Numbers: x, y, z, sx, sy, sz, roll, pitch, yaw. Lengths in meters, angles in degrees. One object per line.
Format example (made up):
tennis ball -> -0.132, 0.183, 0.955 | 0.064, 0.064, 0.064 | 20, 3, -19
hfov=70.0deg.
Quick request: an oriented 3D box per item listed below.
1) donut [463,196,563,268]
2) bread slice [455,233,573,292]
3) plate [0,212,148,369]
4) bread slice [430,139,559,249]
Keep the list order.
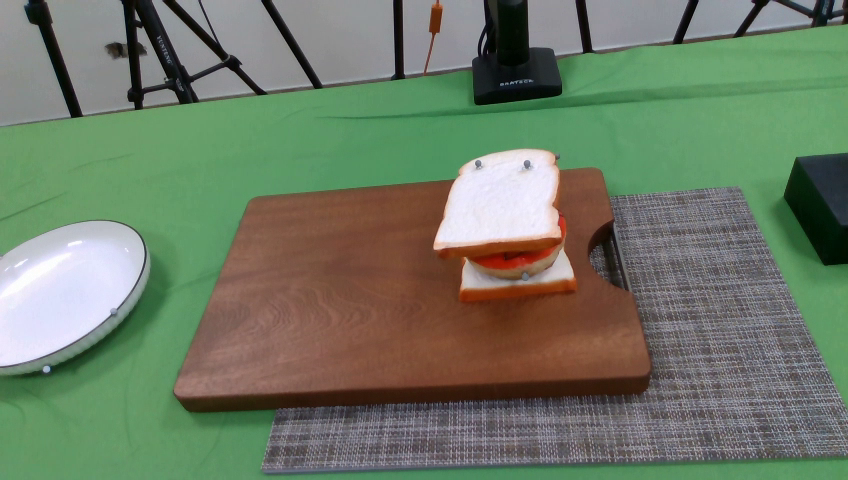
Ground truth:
donut -> 0.076, -0.017, 0.550 | 0.099, 0.049, 0.098 | -7, 45, 7
bread slice -> 0.078, -0.007, 0.582 | 0.105, 0.019, 0.130 | -6, 45, 4
plate -> -0.394, 0.052, 0.646 | 0.209, 0.038, 0.207 | -6, 44, 6
bread slice -> 0.065, -0.044, 0.538 | 0.107, 0.018, 0.133 | -8, 41, 17
